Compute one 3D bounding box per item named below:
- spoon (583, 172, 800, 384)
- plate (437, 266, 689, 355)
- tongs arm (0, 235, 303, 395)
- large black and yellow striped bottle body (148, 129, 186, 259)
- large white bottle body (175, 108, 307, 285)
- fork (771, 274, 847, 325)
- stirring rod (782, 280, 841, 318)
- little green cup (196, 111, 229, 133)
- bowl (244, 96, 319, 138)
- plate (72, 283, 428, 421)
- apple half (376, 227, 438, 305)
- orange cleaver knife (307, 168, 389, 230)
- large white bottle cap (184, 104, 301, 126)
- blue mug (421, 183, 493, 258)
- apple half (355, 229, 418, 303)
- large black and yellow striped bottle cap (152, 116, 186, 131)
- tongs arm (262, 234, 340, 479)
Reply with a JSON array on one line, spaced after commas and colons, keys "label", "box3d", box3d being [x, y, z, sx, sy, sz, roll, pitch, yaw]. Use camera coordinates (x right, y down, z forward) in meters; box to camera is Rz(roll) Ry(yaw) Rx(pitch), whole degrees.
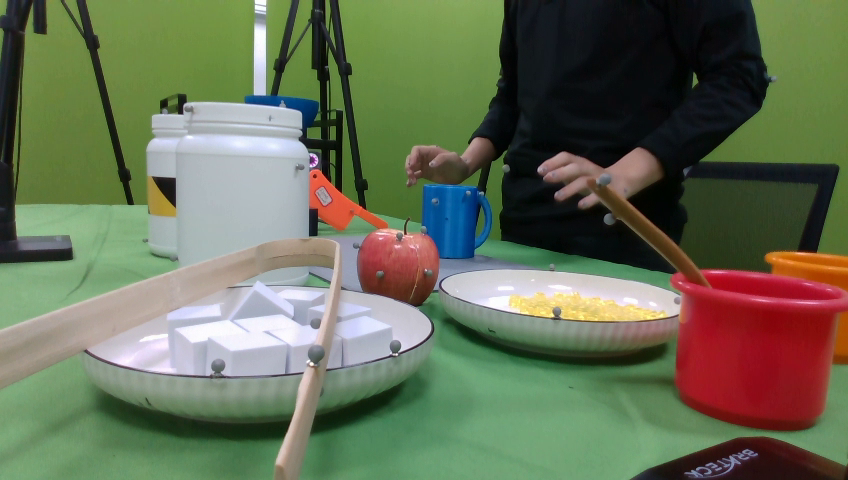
[{"label": "spoon", "box3d": [0.159, 0.026, 0.358, 0.194, 0.021, 0.041, 46, -2, -14]}, {"label": "plate", "box3d": [0.114, 0.057, 0.518, 0.209, 0.038, 0.209, 3, 7, 0]}, {"label": "tongs arm", "box3d": [-0.157, 0.038, 0.351, 0.028, 0.028, 0.388, -3, 9, 12]}, {"label": "large black and yellow striped bottle body", "box3d": [-0.310, -0.073, 0.838, 0.131, 0.184, 0.130, 2, 8, 0]}, {"label": "large white bottle body", "box3d": [-0.188, -0.042, 0.630, 0.131, 0.184, 0.130, 2, 8, 0]}, {"label": "fork", "box3d": [0.332, 0.018, 0.443, 0.028, 0.018, 0.207, -1, -36, -15]}, {"label": "stirring rod", "box3d": [0.344, 0.019, 0.461, 0.014, 0.006, 0.176, -13, -27, -30]}, {"label": "little green cup", "box3d": [-0.403, -0.225, 1.154, 0.061, 0.038, 0.061, 3, 8, 0]}, {"label": "bowl", "box3d": [-0.295, -0.252, 1.254, 0.151, 0.077, 0.151, 2, 8, 0]}, {"label": "plate", "box3d": [-0.102, 0.066, 0.381, 0.208, 0.039, 0.207, 2, 7, 0]}, {"label": "apple half", "box3d": [-0.017, 0.026, 0.593, 0.080, 0.074, 0.053, 4, 2, 43]}, {"label": "orange cleaver knife", "box3d": [-0.158, -0.060, 1.166, 0.212, 0.077, 0.012, 34, -12, -32]}, {"label": "large white bottle cap", "box3d": [-0.184, -0.126, 0.618, 0.115, 0.018, 0.115, 2, 8, 0]}, {"label": "blue mug", "box3d": [0.052, -0.032, 0.912, 0.117, 0.106, 0.082, -1, 8, -24]}, {"label": "apple half", "box3d": [-0.043, 0.027, 0.564, 0.081, 0.081, 0.033, 9, 5, 42]}, {"label": "large black and yellow striped bottle cap", "box3d": [-0.309, -0.155, 0.826, 0.115, 0.019, 0.115, 3, 6, 0]}, {"label": "tongs arm", "box3d": [-0.074, 0.039, 0.349, 0.051, 0.026, 0.384, -2, 10, -3]}]
